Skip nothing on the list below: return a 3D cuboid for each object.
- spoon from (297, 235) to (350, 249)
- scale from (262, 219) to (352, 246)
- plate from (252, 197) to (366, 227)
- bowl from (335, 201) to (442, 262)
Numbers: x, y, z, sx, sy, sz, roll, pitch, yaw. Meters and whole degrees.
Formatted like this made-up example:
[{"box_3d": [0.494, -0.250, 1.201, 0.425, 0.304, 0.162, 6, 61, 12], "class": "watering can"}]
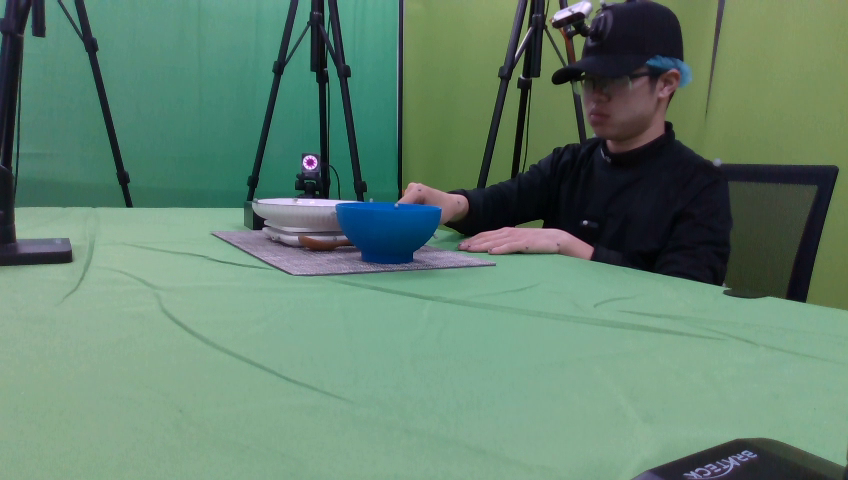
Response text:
[{"box_3d": [-0.102, 0.002, 0.942, 0.195, 0.021, 0.041, -1, -6, -31], "class": "spoon"}, {"box_3d": [-0.160, -0.015, 1.028, 0.202, 0.031, 0.148, -2, 8, -32], "class": "scale"}, {"box_3d": [-0.179, -0.047, 1.012, 0.209, 0.038, 0.209, 2, 6, 0], "class": "plate"}, {"box_3d": [-0.051, -0.012, 0.849, 0.151, 0.077, 0.151, 2, 7, 0], "class": "bowl"}]
